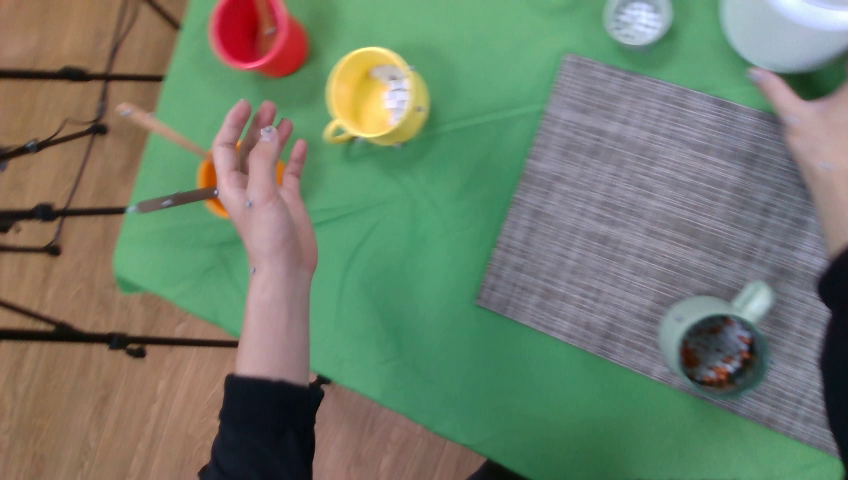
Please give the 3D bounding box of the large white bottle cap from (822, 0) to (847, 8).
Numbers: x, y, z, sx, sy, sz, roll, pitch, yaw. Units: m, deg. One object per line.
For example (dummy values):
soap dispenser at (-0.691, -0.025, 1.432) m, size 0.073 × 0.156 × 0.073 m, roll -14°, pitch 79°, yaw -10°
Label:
large white bottle cap at (0.333, -0.231, 0.448) m, size 0.114 × 0.018 × 0.115 m, roll 0°, pitch 91°, yaw 16°

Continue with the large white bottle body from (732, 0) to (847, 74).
large white bottle body at (0.357, -0.232, 0.529) m, size 0.130 × 0.185 × 0.130 m, roll 0°, pitch 91°, yaw 16°

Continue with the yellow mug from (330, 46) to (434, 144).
yellow mug at (-0.057, -0.157, 0.704) m, size 0.131 × 0.064 × 0.099 m, roll -37°, pitch 82°, yaw 14°

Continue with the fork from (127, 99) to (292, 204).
fork at (-0.248, -0.103, 0.713) m, size 0.209 × 0.018 × 0.028 m, roll 32°, pitch 99°, yaw -31°

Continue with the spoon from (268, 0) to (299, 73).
spoon at (-0.171, -0.281, 0.690) m, size 0.041 × 0.021 × 0.195 m, roll 17°, pitch 140°, yaw 13°

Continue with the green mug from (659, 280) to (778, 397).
green mug at (0.293, 0.089, 0.591) m, size 0.092 × 0.105 × 0.125 m, roll 39°, pitch 100°, yaw 12°

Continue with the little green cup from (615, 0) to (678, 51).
little green cup at (0.233, -0.230, 0.639) m, size 0.061 × 0.039 × 0.061 m, roll 1°, pitch 93°, yaw 15°

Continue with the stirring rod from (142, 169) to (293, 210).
stirring rod at (-0.240, -0.061, 0.718) m, size 0.177 × 0.006 × 0.014 m, roll -16°, pitch 86°, yaw -27°
